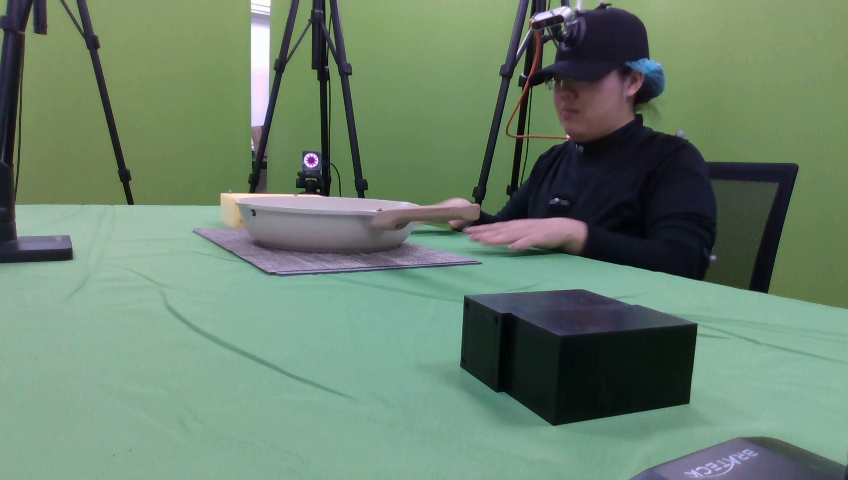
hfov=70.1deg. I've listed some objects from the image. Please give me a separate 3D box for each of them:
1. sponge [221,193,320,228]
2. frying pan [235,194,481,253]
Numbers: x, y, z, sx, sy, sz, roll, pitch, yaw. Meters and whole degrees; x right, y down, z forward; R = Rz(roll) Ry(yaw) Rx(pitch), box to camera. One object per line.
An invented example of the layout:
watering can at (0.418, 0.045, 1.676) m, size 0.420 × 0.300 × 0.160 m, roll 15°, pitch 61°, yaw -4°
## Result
sponge at (-0.297, -0.062, 1.235) m, size 0.208 × 0.061 × 0.117 m, roll -2°, pitch 9°, yaw -31°
frying pan at (-0.089, -0.034, 0.891) m, size 0.308 × 0.102 × 0.485 m, roll -4°, pitch 2°, yaw -36°
